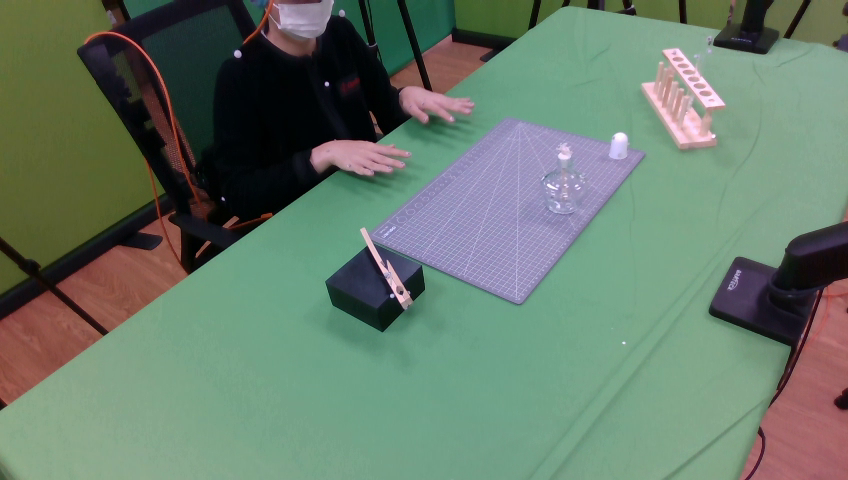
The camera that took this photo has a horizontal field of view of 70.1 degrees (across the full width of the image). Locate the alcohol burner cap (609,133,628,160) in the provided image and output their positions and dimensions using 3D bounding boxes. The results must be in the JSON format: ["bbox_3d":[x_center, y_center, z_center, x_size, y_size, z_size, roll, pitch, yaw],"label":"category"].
[{"bbox_3d":[0.356,-0.172,1.100,0.034,0.048,0.033,-5,41,5],"label":"alcohol burner cap"}]

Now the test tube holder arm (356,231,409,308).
[{"bbox_3d":[-0.062,0.038,0.867,0.013,0.015,0.177,-24,42,-16],"label":"test tube holder arm"}]

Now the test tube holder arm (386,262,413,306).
[{"bbox_3d":[-0.038,0.060,0.837,0.010,0.015,0.087,-22,42,-14],"label":"test tube holder arm"}]

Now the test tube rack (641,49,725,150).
[{"bbox_3d":[0.495,-0.279,1.175,0.067,0.085,0.241,-5,41,3],"label":"test tube rack"}]

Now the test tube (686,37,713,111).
[{"bbox_3d":[0.509,-0.306,1.129,0.017,0.151,0.017,-1,45,1],"label":"test tube"}]

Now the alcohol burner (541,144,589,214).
[{"bbox_3d":[0.229,-0.102,0.983,0.078,0.119,0.077,-6,41,5],"label":"alcohol burner"}]
